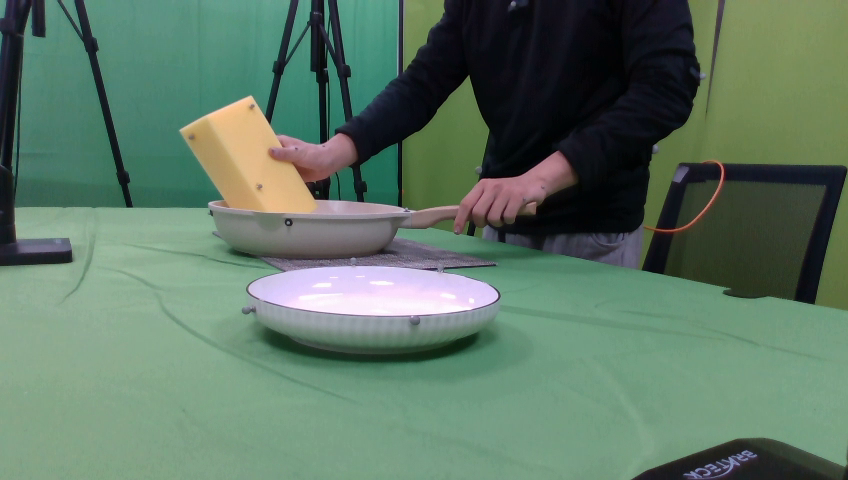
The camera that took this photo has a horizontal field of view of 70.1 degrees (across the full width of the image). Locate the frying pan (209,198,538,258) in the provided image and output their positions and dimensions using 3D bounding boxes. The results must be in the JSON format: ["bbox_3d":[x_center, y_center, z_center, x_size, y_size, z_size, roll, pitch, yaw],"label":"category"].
[{"bbox_3d":[-0.075,-0.034,0.912,0.487,0.102,0.307,-5,7,12],"label":"frying pan"}]

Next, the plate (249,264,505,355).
[{"bbox_3d":[-0.038,0.056,0.504,0.208,0.039,0.207,2,7,0],"label":"plate"}]

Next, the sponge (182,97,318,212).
[{"bbox_3d":[-0.269,-0.110,0.960,0.060,0.207,0.118,-20,20,29],"label":"sponge"}]
